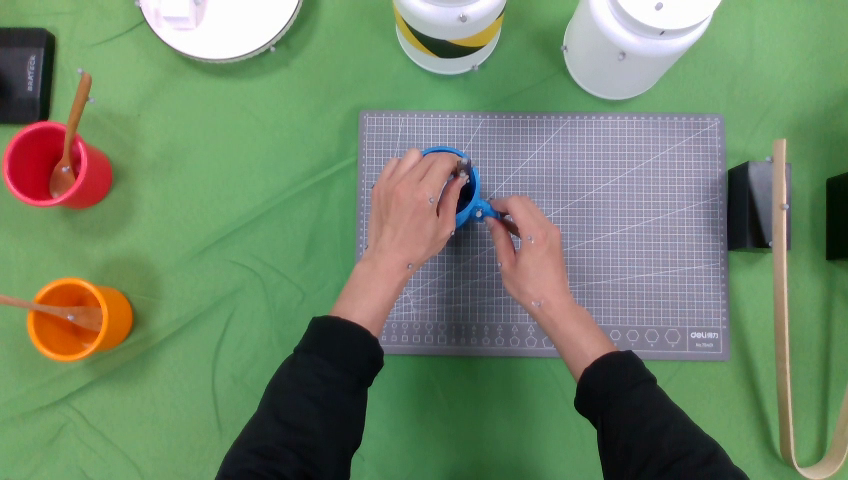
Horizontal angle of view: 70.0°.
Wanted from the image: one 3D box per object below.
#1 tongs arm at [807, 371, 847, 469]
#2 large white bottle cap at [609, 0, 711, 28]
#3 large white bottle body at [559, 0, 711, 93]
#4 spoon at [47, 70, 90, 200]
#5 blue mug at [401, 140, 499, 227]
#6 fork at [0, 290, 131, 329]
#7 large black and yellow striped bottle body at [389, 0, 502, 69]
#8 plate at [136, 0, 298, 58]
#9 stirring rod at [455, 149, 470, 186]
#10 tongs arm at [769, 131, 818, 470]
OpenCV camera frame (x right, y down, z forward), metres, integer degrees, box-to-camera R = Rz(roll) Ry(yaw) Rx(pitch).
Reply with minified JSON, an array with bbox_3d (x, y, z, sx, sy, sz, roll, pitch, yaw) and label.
[{"bbox_3d":[0.497,0.073,0.679,0.028,0.027,0.388,9,97,-7],"label":"tongs arm"},{"bbox_3d":[0.228,-0.262,0.582,0.115,0.018,0.114,0,85,0],"label":"large white bottle cap"},{"bbox_3d":[0.230,-0.253,0.666,0.130,0.185,0.130,0,85,1],"label":"large white bottle body"},{"bbox_3d":[-0.400,-0.114,0.683,0.041,0.021,0.194,47,131,7],"label":"spoon"},{"bbox_3d":[0.033,-0.054,0.690,0.116,0.106,0.082,26,86,3],"label":"blue mug"},{"bbox_3d":[-0.432,0.068,0.667,0.209,0.018,0.028,23,84,-41],"label":"fork"},{"bbox_3d":[0.024,-0.283,0.671,0.131,0.184,0.130,0,85,1],"label":"large black and yellow striped bottle body"},{"bbox_3d":[-0.251,-0.323,0.751,0.208,0.039,0.207,0,86,1],"label":"plate"},{"bbox_3d":[0.041,-0.073,0.636,0.014,0.176,0.006,-18,85,3],"label":"stirring rod"},{"bbox_3d":[0.415,0.071,0.678,0.051,0.026,0.385,-4,97,-2],"label":"tongs arm"}]
